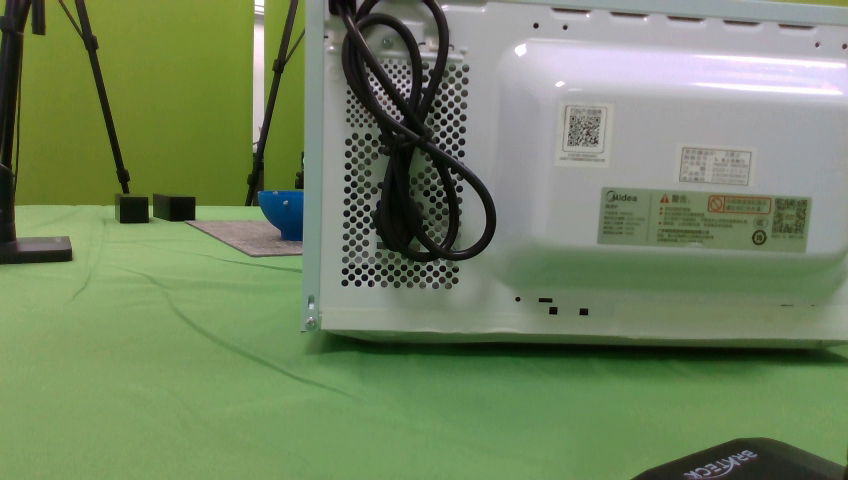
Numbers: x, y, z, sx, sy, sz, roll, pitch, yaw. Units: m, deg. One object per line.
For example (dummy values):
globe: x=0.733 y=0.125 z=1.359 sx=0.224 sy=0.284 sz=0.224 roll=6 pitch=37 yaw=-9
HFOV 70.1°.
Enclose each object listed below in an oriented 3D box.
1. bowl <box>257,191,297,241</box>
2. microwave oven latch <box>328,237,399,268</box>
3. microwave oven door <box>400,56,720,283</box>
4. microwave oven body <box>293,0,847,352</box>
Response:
bowl: x=-0.206 y=-0.041 z=1.026 sx=0.151 sy=0.077 sz=0.151 roll=2 pitch=8 yaw=0
microwave oven latch: x=-0.069 y=0.014 z=0.694 sx=0.079 sy=0.029 sz=0.030 roll=3 pitch=7 yaw=-3
microwave oven door: x=0.155 y=-0.077 z=0.697 sx=0.356 sy=0.243 sz=0.039 roll=2 pitch=8 yaw=-5
microwave oven body: x=0.122 y=-0.055 z=0.550 sx=0.442 sy=0.260 sz=0.325 roll=3 pitch=7 yaw=-5
